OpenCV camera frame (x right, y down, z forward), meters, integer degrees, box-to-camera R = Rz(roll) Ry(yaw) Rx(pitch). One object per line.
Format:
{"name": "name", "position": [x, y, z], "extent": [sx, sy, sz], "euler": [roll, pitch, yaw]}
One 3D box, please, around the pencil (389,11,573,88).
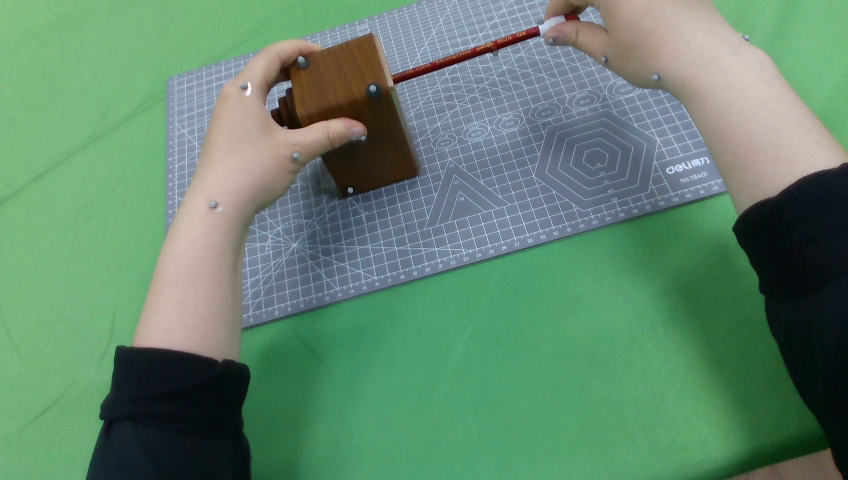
{"name": "pencil", "position": [0.016, -0.129, 0.442], "extent": [0.194, 0.012, 0.012], "euler": [-20, 59, 3]}

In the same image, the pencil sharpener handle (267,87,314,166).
{"name": "pencil sharpener handle", "position": [-0.107, -0.082, 0.460], "extent": [0.030, 0.068, 0.035], "euler": [-18, 57, 2]}

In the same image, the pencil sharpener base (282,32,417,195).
{"name": "pencil sharpener base", "position": [-0.056, -0.093, 0.470], "extent": [0.077, 0.108, 0.061], "euler": [-18, 59, 2]}
